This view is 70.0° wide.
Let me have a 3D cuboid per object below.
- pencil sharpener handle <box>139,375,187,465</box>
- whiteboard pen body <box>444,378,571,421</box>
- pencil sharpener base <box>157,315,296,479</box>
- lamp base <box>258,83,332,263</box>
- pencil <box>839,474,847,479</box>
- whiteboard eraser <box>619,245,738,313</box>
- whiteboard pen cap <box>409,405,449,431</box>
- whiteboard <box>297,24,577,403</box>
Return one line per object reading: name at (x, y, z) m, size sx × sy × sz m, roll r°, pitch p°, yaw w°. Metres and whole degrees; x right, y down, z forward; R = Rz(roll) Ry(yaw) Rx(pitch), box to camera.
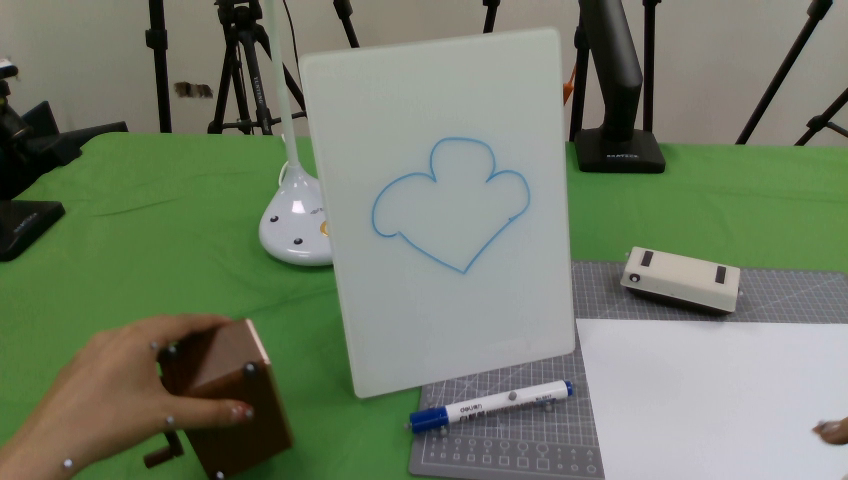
pencil sharpener handle at (-0.195, 0.133, 0.438) m, size 0.031 × 0.068 × 0.035 m, roll -22°, pitch 31°, yaw -21°
whiteboard pen body at (0.062, 0.141, 0.528) m, size 0.141 × 0.017 × 0.017 m, roll -10°, pitch 36°, yaw -9°
pencil sharpener base at (-0.151, 0.124, 0.466) m, size 0.077 × 0.108 × 0.060 m, roll -22°, pitch 42°, yaw -21°
lamp base at (-0.141, -0.089, 0.733) m, size 0.161 × 0.182 × 0.177 m, roll -28°, pitch 41°, yaw -31°
pencil at (0.234, 0.091, 0.292) m, size 0.012 × 0.196 × 0.012 m, roll -7°, pitch 49°, yaw 8°
whiteboard eraser at (0.269, 0.042, 0.642) m, size 0.112 × 0.042 × 0.055 m, roll 14°, pitch 40°, yaw 22°
whiteboard pen cap at (0.004, 0.152, 0.518) m, size 0.033 × 0.018 × 0.018 m, roll -10°, pitch 36°, yaw -11°
whiteboard at (0.012, -0.033, 0.589) m, size 0.217 × 0.307 × 0.143 m, roll -10°, pitch 17°, yaw -9°
